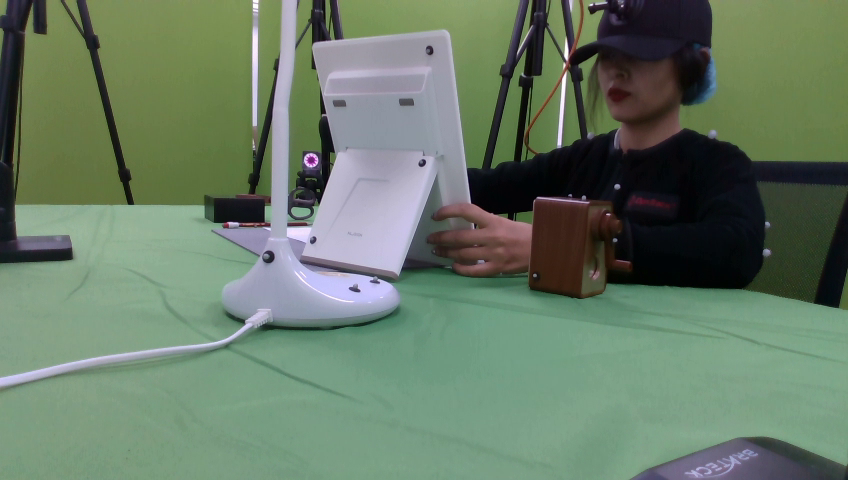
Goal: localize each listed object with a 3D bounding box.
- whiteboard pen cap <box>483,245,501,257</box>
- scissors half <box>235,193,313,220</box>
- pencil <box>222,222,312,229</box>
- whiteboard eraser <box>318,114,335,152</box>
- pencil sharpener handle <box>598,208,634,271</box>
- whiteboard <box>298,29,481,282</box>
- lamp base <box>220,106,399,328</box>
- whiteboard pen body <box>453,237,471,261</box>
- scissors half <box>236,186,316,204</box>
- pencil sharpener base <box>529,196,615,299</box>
[{"bbox_3d":[0.104,0.017,0.936,0.018,0.018,0.033,-1,4,-22],"label":"whiteboard pen cap"},{"bbox_3d":[-0.325,-0.077,1.319,0.176,0.040,0.012,17,8,-32],"label":"scissors half"},{"bbox_3d":[-0.302,-0.030,1.189,0.195,0.012,0.012,-2,9,-42],"label":"pencil"},{"bbox_3d":[-0.111,-0.151,0.859,0.042,0.055,0.112,-22,23,-34],"label":"whiteboard eraser"},{"bbox_3d":[0.208,0.000,0.644,0.030,0.068,0.036,10,23,42],"label":"pencil sharpener handle"},{"bbox_3d":[-0.075,-0.082,0.743,0.216,0.305,0.144,8,29,36],"label":"whiteboard"},{"bbox_3d":[-0.101,-0.023,0.531,0.160,0.180,0.179,4,10,10],"label":"lamp base"},{"bbox_3d":[0.058,0.015,0.912,0.017,0.017,0.140,2,10,-3],"label":"whiteboard pen body"},{"bbox_3d":[-0.320,-0.097,1.316,0.176,0.040,0.013,-4,13,-29],"label":"scissors half"},{"bbox_3d":[0.168,0.007,0.678,0.076,0.107,0.062,10,10,42],"label":"pencil sharpener base"}]
